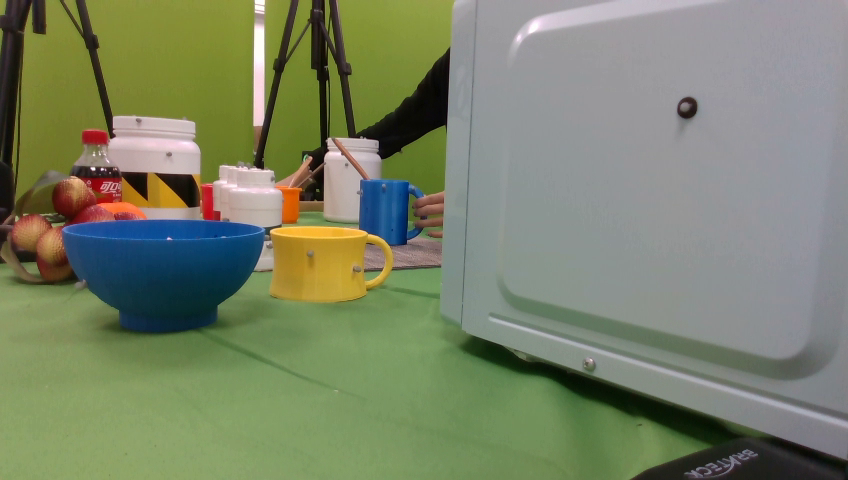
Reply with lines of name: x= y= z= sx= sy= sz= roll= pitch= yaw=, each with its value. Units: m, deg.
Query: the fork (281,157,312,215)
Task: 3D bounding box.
fork: x=-0.289 y=-0.116 z=1.321 sx=0.028 sy=0.019 sz=0.207 roll=6 pitch=51 yaw=19

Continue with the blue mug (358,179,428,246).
blue mug: x=-0.052 y=-0.046 z=1.007 sx=0.116 sy=0.106 sz=0.082 roll=3 pitch=8 yaw=7

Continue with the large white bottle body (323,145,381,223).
large white bottle body: x=-0.163 y=-0.135 z=1.368 sx=0.131 sy=0.184 sz=0.130 roll=2 pitch=7 yaw=0

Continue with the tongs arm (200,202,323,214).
tongs arm: x=-0.378 y=-0.078 z=1.441 sx=0.387 sy=0.026 sz=0.050 roll=-3 pitch=8 yaw=-44

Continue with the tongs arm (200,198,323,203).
tongs arm: x=-0.430 y=-0.089 z=1.503 sx=0.390 sy=0.028 sz=0.028 roll=-1 pitch=3 yaw=-31

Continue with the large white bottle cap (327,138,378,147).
large white bottle cap: x=-0.160 y=-0.218 z=1.357 sx=0.115 sy=0.018 sz=0.115 roll=2 pitch=8 yaw=0

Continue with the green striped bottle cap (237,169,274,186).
green striped bottle cap: x=-0.205 y=-0.075 z=0.737 sx=0.044 sy=0.020 sz=0.044 roll=2 pitch=4 yaw=0

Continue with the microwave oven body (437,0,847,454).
microwave oven body: x=0.279 y=-0.040 z=0.464 sx=0.444 sy=0.260 sz=0.324 roll=-3 pitch=9 yaw=-41

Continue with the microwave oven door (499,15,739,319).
microwave oven door: x=0.216 y=-0.065 z=0.602 sx=0.358 sy=0.243 sz=0.039 roll=-4 pitch=11 yaw=-41

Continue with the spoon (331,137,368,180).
spoon: x=-0.096 y=-0.092 z=1.010 sx=0.021 sy=0.194 sz=0.041 roll=-30 pitch=5 yaw=15

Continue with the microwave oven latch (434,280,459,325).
microwave oven latch: x=0.044 y=0.045 z=0.470 sx=0.079 sy=0.029 sz=0.030 roll=-2 pitch=8 yaw=-40

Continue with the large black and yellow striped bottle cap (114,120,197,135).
large black and yellow striped bottle cap: x=-0.407 y=-0.171 z=0.920 sx=0.115 sy=0.019 sz=0.115 roll=2 pitch=9 yaw=0

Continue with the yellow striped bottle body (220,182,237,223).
yellow striped bottle body: x=-0.246 y=-0.036 z=0.825 sx=0.063 sy=0.120 sz=0.063 roll=3 pitch=8 yaw=0

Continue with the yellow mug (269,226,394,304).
yellow mug: x=-0.094 y=0.023 z=0.630 sx=0.131 sy=0.064 sz=0.099 roll=0 pitch=8 yaw=-22

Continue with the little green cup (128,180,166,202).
little green cup: x=-0.485 y=-0.087 z=1.062 sx=0.061 sy=0.038 sz=0.061 roll=0 pitch=7 yaw=0

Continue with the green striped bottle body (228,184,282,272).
green striped bottle body: x=-0.208 y=-0.024 z=0.745 sx=0.063 sy=0.119 sz=0.063 roll=2 pitch=7 yaw=0

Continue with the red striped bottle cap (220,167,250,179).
red striped bottle cap: x=-0.281 y=-0.100 z=0.901 sx=0.044 sy=0.017 sz=0.044 roll=-1 pitch=5 yaw=0

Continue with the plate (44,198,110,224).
plate: x=-0.617 y=-0.056 z=1.179 sx=0.209 sy=0.038 sz=0.209 roll=3 pitch=7 yaw=0

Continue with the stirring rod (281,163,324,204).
stirring rod: x=-0.278 y=-0.105 z=1.293 sx=0.176 sy=0.006 sz=0.014 roll=-47 pitch=24 yaw=-18

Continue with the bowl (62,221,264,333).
bowl: x=-0.209 y=0.029 z=0.496 sx=0.151 sy=0.077 sz=0.151 roll=2 pitch=7 yaw=0

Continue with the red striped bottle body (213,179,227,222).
red striped bottle body: x=-0.284 y=-0.048 z=0.909 sx=0.063 sy=0.119 sz=0.063 roll=3 pitch=10 yaw=0

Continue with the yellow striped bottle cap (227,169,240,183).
yellow striped bottle cap: x=-0.243 y=-0.087 z=0.818 sx=0.044 sy=0.018 sz=0.044 roll=3 pitch=6 yaw=0

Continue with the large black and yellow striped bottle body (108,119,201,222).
large black and yellow striped bottle body: x=-0.412 y=-0.088 z=0.930 sx=0.131 sy=0.184 sz=0.130 roll=3 pitch=7 yaw=0
